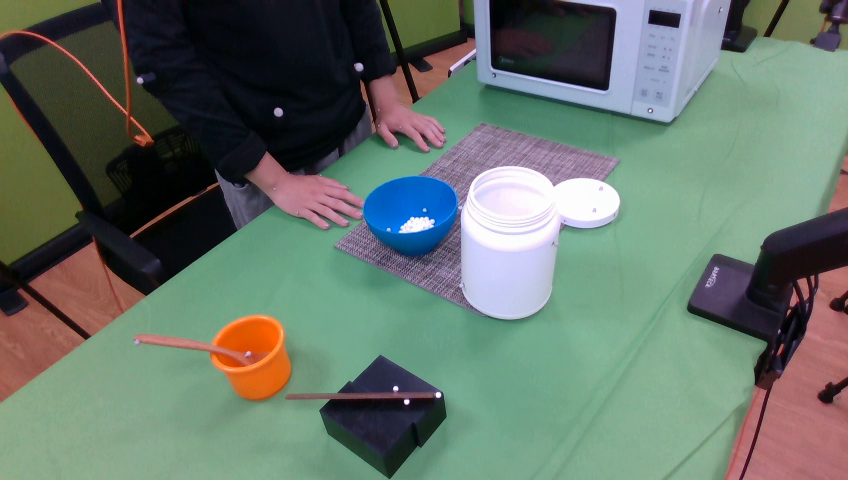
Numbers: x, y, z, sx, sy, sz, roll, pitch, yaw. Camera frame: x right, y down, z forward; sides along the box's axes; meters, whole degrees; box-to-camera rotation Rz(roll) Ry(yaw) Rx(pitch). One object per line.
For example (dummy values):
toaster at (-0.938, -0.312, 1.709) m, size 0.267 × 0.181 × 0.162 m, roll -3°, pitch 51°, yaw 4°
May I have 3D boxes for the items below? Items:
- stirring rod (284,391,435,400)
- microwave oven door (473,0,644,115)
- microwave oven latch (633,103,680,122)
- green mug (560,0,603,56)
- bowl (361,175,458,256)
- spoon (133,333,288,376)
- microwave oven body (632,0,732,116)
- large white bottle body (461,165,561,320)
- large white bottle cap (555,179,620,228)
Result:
stirring rod at (-0.075, 0.180, 0.698) m, size 0.176 × 0.006 × 0.014 m, roll -2°, pitch 6°, yaw 7°
microwave oven door at (0.257, -0.396, 1.199) m, size 0.353 × 0.245 × 0.039 m, roll 21°, pitch 48°, yaw 29°
microwave oven latch at (0.443, -0.249, 1.157) m, size 0.078 × 0.029 × 0.030 m, roll 21°, pitch 48°, yaw 30°
green mug at (0.333, -0.451, 1.293) m, size 0.092 × 0.105 × 0.125 m, roll 10°, pitch 48°, yaw 22°
bowl at (-0.018, -0.028, 0.955) m, size 0.151 × 0.077 × 0.150 m, roll -4°, pitch 40°, yaw 4°
spoon at (-0.257, 0.137, 0.747) m, size 0.021 × 0.195 × 0.041 m, roll -47°, pitch 40°, yaw 23°
microwave oven body at (0.377, -0.462, 1.267) m, size 0.438 × 0.261 × 0.327 m, roll 21°, pitch 48°, yaw 30°
large white bottle body at (0.115, 0.004, 0.815) m, size 0.130 × 0.185 × 0.130 m, roll -2°, pitch 43°, yaw 2°
large white bottle cap at (0.265, -0.062, 1.001) m, size 0.115 × 0.018 × 0.114 m, roll -3°, pitch 41°, yaw 4°
